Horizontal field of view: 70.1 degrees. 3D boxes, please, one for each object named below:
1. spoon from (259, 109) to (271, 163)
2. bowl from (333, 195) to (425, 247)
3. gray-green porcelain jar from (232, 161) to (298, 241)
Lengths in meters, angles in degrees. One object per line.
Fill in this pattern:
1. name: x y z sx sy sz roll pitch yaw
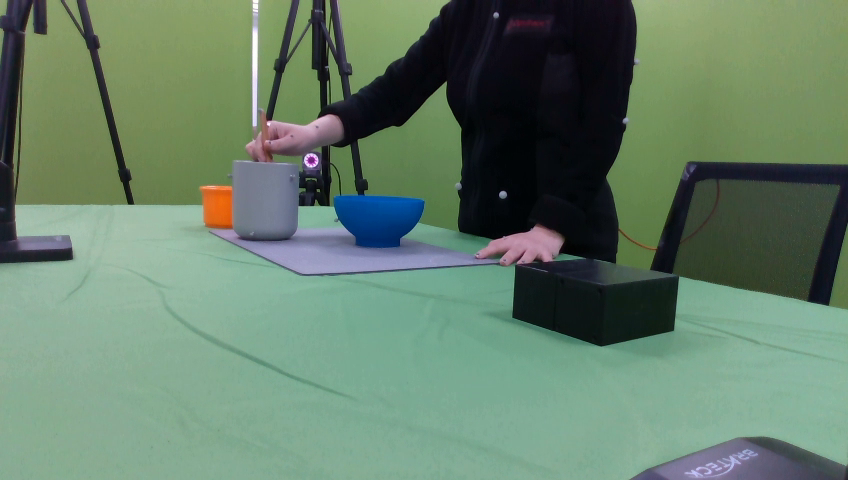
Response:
1. spoon: -0.262 -0.120 1.005 0.021 0.193 0.042 6 9 23
2. bowl: -0.074 -0.031 0.987 0.151 0.077 0.151 2 7 0
3. gray-green porcelain jar: -0.262 -0.065 0.999 0.106 0.126 0.106 3 7 0
